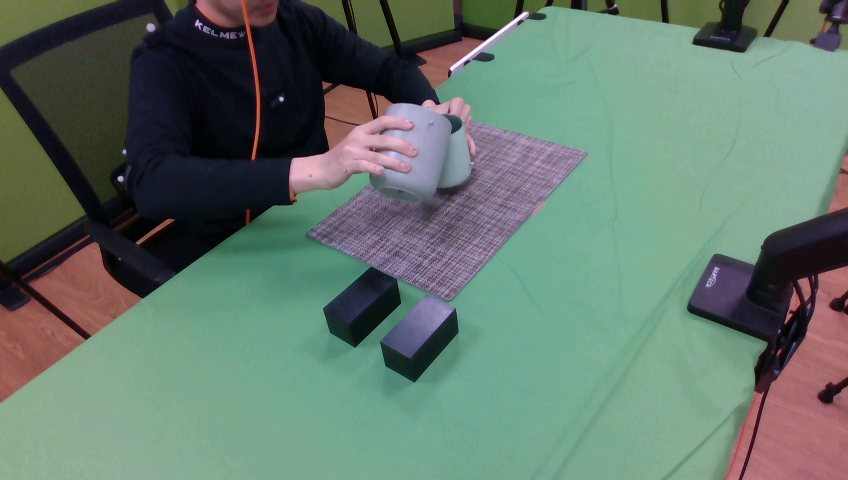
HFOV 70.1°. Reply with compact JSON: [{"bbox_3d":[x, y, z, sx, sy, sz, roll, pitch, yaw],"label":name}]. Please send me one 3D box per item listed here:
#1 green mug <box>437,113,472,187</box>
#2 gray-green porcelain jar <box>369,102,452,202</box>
[{"bbox_3d":[0.034,-0.163,1.045,0.092,0.105,0.125,-4,40,7],"label":"green mug"},{"bbox_3d":[-0.023,-0.128,0.917,0.105,0.106,0.126,10,79,20],"label":"gray-green porcelain jar"}]
